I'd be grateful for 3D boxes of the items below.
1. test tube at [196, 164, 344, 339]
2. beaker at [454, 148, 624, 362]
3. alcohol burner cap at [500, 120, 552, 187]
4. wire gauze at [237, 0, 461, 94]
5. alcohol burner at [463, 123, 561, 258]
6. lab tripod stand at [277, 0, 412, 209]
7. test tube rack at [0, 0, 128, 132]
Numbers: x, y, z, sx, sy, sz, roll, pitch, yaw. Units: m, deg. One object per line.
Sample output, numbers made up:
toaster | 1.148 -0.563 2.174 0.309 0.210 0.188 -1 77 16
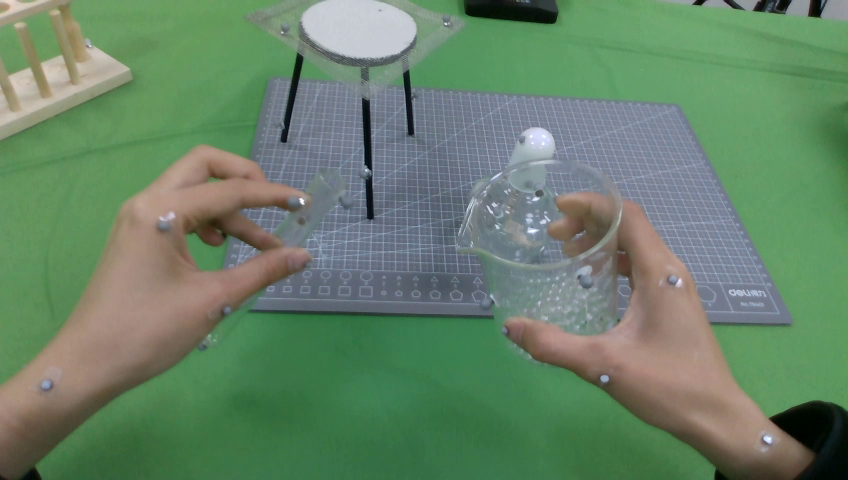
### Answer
test tube | -0.091 0.012 0.338 0.017 0.150 0.017 31 34 -23
beaker | 0.064 0.014 0.327 0.084 0.101 0.073 -20 47 -1
alcohol burner cap | 0.076 -0.065 0.440 0.034 0.048 0.033 4 53 -5
wire gauze | -0.053 -0.165 0.455 0.124 0.011 0.121 33 53 18
alcohol burner | 0.072 -0.042 0.468 0.078 0.120 0.077 5 47 -5
lab tripod stand | -0.058 -0.121 0.505 0.148 0.132 0.147 5 49 -6
test tube rack | -0.387 -0.142 0.511 0.066 0.086 0.242 32 52 19
